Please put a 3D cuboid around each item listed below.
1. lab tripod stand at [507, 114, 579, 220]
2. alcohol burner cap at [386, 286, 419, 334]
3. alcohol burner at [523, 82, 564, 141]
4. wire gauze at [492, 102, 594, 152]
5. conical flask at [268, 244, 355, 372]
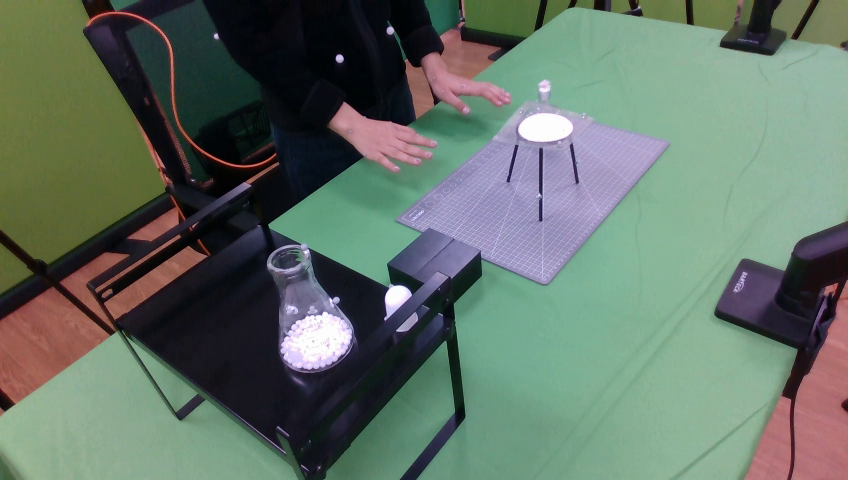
[{"bbox_3d":[0.199,-0.128,1.005,0.148,0.132,0.147,-3,42,3],"label":"lab tripod stand"},{"bbox_3d":[-0.024,0.067,0.604,0.034,0.048,0.033,-5,39,4],"label":"alcohol burner cap"},{"bbox_3d":[0.230,-0.250,1.160,0.078,0.119,0.077,-4,43,4],"label":"alcohol burner"},{"bbox_3d":[0.191,-0.180,0.964,0.120,0.011,0.125,19,48,28],"label":"wire gauze"},{"bbox_3d":[-0.111,0.060,0.564,0.075,0.122,0.075,-5,41,4],"label":"conical flask"}]
